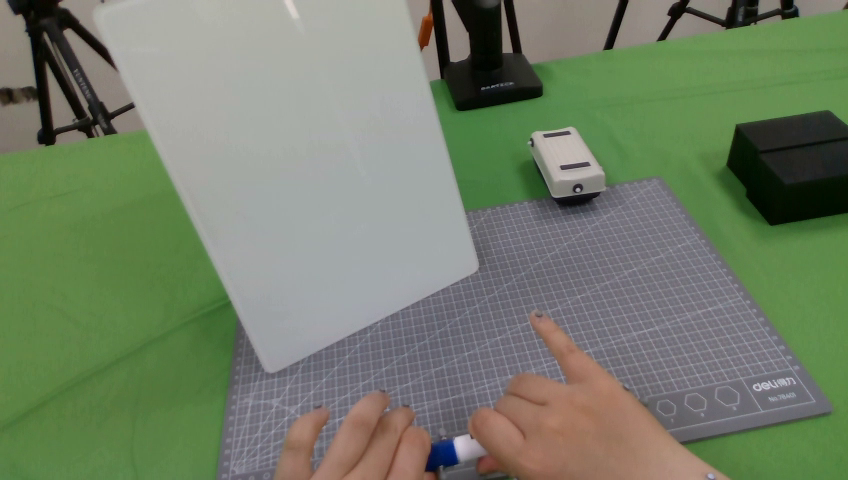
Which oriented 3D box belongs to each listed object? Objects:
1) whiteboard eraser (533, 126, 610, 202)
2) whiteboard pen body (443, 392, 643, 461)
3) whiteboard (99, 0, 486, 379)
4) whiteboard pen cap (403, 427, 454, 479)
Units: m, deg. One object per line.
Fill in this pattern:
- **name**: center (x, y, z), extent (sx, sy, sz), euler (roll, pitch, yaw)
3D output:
- **whiteboard eraser**: center (0.157, -0.083, 0.657), extent (0.055, 0.042, 0.111), euler (-10, 38, 1)
- **whiteboard pen body**: center (0.064, 0.117, 0.370), extent (0.141, 0.017, 0.017), euler (-14, 41, -1)
- **whiteboard**: center (-0.103, -0.078, 0.539), extent (0.217, 0.308, 0.142), euler (-25, 25, -17)
- **whiteboard pen cap**: center (0.002, 0.130, 0.364), extent (0.018, 0.018, 0.033), euler (22, 54, 30)
